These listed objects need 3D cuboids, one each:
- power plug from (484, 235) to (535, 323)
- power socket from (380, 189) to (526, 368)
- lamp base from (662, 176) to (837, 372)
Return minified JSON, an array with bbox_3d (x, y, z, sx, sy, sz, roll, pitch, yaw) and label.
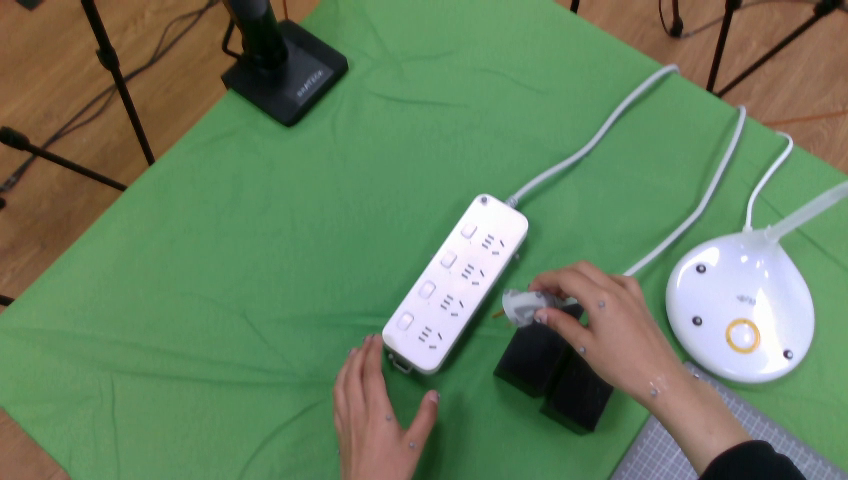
[{"bbox_3d":[0.070,0.038,0.545,0.052,0.035,0.072,-30,78,17],"label":"power plug"},{"bbox_3d":[0.034,0.039,0.672,0.072,0.033,0.226,33,73,10],"label":"power socket"},{"bbox_3d":[0.344,0.026,0.599,0.160,0.181,0.178,8,67,4],"label":"lamp base"}]
